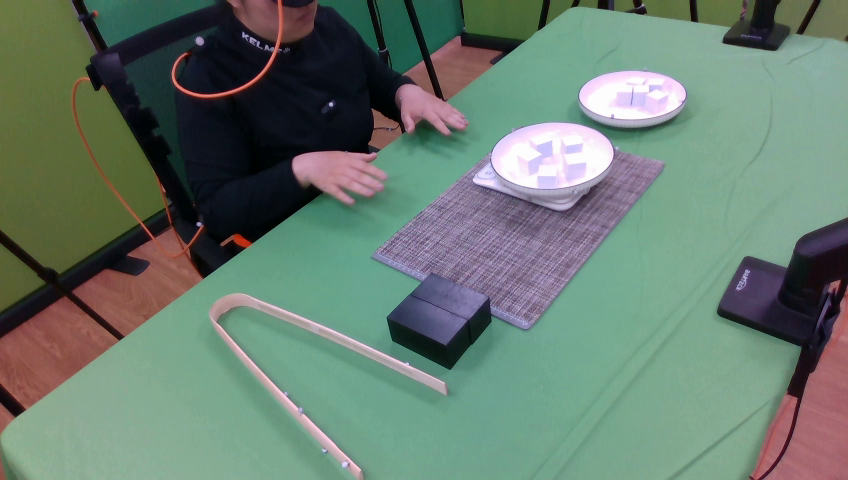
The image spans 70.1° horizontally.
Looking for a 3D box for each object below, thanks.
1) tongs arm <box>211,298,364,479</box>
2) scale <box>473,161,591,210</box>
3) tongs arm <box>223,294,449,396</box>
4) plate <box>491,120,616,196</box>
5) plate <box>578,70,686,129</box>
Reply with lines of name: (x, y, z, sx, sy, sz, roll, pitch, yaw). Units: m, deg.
tongs arm: (-0.186, 0.180, 0.794, 0.381, 0.026, 0.051, 28, 51, 37)
scale: (0.202, -0.121, 1.074, 0.199, 0.032, 0.149, 23, 49, 33)
tongs arm: (-0.134, 0.139, 0.840, 0.385, 0.028, 0.028, 17, 48, 28)
plate: (0.220, -0.137, 1.038, 0.207, 0.039, 0.206, -6, 41, 5)
plate: (0.416, -0.280, 1.221, 0.209, 0.038, 0.208, -5, 41, 5)
